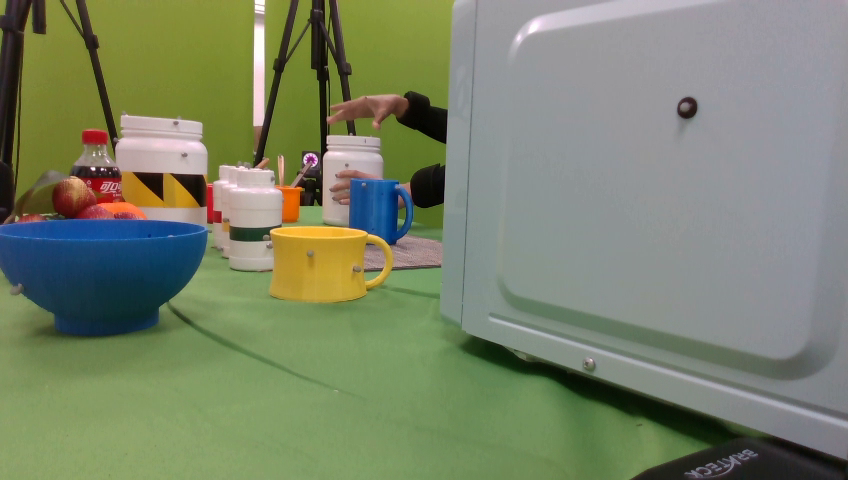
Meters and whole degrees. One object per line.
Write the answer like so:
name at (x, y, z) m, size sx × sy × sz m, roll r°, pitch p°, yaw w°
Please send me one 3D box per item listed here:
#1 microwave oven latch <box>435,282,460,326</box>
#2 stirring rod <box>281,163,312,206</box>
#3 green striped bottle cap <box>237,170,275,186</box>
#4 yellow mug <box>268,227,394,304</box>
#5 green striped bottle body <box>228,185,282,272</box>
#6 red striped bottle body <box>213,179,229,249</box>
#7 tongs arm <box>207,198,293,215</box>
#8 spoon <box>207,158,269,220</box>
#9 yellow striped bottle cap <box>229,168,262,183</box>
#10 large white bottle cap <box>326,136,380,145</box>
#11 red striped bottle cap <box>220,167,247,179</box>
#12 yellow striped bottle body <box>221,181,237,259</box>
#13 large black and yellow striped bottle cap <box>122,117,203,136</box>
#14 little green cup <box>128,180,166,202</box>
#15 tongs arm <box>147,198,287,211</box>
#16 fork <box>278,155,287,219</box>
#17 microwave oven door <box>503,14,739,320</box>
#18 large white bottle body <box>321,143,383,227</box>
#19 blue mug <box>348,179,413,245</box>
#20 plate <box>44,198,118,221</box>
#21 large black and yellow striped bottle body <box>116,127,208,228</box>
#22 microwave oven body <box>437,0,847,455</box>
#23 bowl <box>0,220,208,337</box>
microwave oven latch at (0.044, 0.046, 0.470) m, size 0.079 × 0.029 × 0.030 m, roll -3°, pitch 8°, yaw -40°
stirring rod at (-0.292, -0.111, 1.324) m, size 0.014 × 0.006 × 0.176 m, roll 2°, pitch 47°, yaw 29°
green striped bottle cap at (-0.205, -0.075, 0.737) m, size 0.044 × 0.020 × 0.044 m, roll 1°, pitch 6°, yaw 0°
yellow mug at (-0.094, 0.023, 0.630) m, size 0.131 × 0.064 × 0.099 m, roll 0°, pitch 8°, yaw -22°
green striped bottle body at (-0.208, -0.023, 0.745) m, size 0.063 × 0.119 × 0.063 m, roll 2°, pitch 7°, yaw 0°
red striped bottle body at (-0.284, -0.048, 0.909) m, size 0.063 × 0.119 × 0.063 m, roll 3°, pitch 10°, yaw 0°
tongs arm at (-0.423, -0.084, 1.472) m, size 0.050 × 0.026 × 0.386 m, roll 2°, pitch 6°, yaw 21°
spoon at (-0.380, -0.108, 1.251) m, size 0.041 × 0.022 × 0.194 m, roll 4°, pitch 51°, yaw 39°
yellow striped bottle cap at (-0.240, -0.087, 0.816) m, size 0.044 × 0.018 × 0.044 m, roll -2°, pitch 5°, yaw 1°
large white bottle cap at (-0.151, -0.211, 1.288) m, size 0.115 × 0.018 × 0.115 m, roll 2°, pitch 8°, yaw 0°
red striped bottle cap at (-0.281, -0.099, 0.901) m, size 0.044 × 0.017 × 0.044 m, roll -1°, pitch 4°, yaw 0°
yellow striped bottle body at (-0.244, -0.035, 0.823) m, size 0.063 × 0.120 × 0.063 m, roll 2°, pitch 8°, yaw 0°
large black and yellow striped bottle cap at (-0.399, -0.174, 0.927) m, size 0.115 × 0.019 × 0.115 m, roll 5°, pitch 9°, yaw -1°
little green cup at (-0.485, -0.087, 1.062) m, size 0.061 × 0.038 × 0.061 m, roll -1°, pitch 6°, yaw 0°
tongs arm at (-0.504, -0.091, 1.513) m, size 0.028 × 0.028 × 0.389 m, roll 0°, pitch 4°, yaw 37°
fork at (-0.318, -0.120, 1.342) m, size 0.028 × 0.018 × 0.206 m, roll 0°, pitch 52°, yaw -13°
microwave oven door at (0.217, -0.065, 0.601) m, size 0.358 × 0.243 × 0.039 m, roll -4°, pitch 10°, yaw -41°
large white bottle body at (-0.154, -0.125, 1.301) m, size 0.131 × 0.184 × 0.130 m, roll 2°, pitch 8°, yaw 0°
blue mug at (-0.071, -0.047, 1.002) m, size 0.116 × 0.106 × 0.082 m, roll 7°, pitch 9°, yaw 26°
plate at (-0.617, -0.056, 1.179) m, size 0.209 × 0.038 × 0.209 m, roll 3°, pitch 7°, yaw 0°
large black and yellow striped bottle body at (-0.404, -0.089, 0.937) m, size 0.131 × 0.184 × 0.130 m, roll 3°, pitch 7°, yaw 0°
microwave oven body at (0.279, -0.040, 0.464) m, size 0.444 × 0.260 × 0.324 m, roll -3°, pitch 8°, yaw -41°
bowl at (-0.251, 0.029, 0.479) m, size 0.151 × 0.077 × 0.151 m, roll 2°, pitch 7°, yaw 0°
